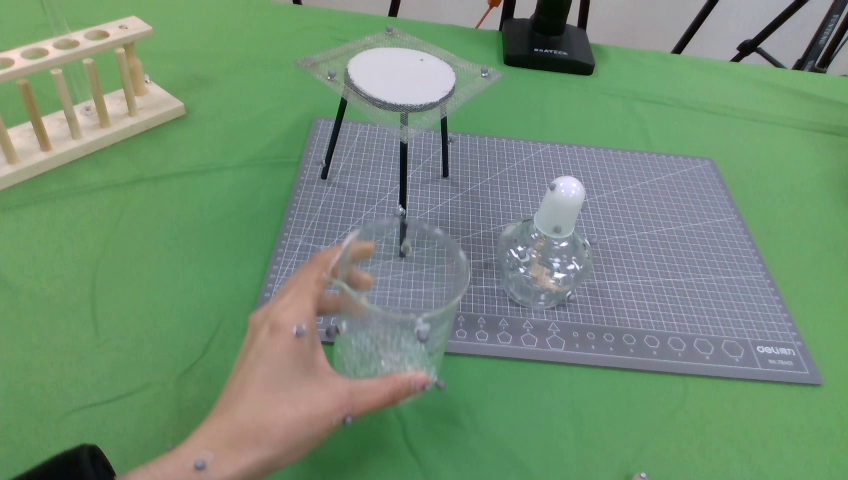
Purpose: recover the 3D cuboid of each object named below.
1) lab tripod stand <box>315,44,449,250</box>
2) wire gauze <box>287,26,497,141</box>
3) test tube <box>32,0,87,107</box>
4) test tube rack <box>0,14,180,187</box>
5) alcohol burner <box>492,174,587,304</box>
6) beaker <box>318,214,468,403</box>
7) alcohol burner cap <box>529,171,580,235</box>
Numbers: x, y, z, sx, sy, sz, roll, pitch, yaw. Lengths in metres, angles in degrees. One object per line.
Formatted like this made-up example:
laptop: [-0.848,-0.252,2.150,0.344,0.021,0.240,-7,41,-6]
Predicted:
lab tripod stand: [-0.029,-0.087,0.528,0.148,0.132,0.147,6,45,-5]
wire gauze: [-0.024,-0.134,0.480,0.124,0.011,0.121,35,51,23]
test tube: [-0.337,-0.190,0.551,0.017,0.151,0.017,2,42,-2]
test tube rack: [-0.355,-0.122,0.551,0.066,0.086,0.242,34,50,24]
alcohol burner: [0.095,-0.005,0.479,0.078,0.120,0.077,6,43,-5]
beaker: [-0.023,0.046,0.367,0.084,0.101,0.073,-4,46,-15]
alcohol burner cap: [0.100,-0.029,0.453,0.034,0.048,0.033,4,49,-4]
